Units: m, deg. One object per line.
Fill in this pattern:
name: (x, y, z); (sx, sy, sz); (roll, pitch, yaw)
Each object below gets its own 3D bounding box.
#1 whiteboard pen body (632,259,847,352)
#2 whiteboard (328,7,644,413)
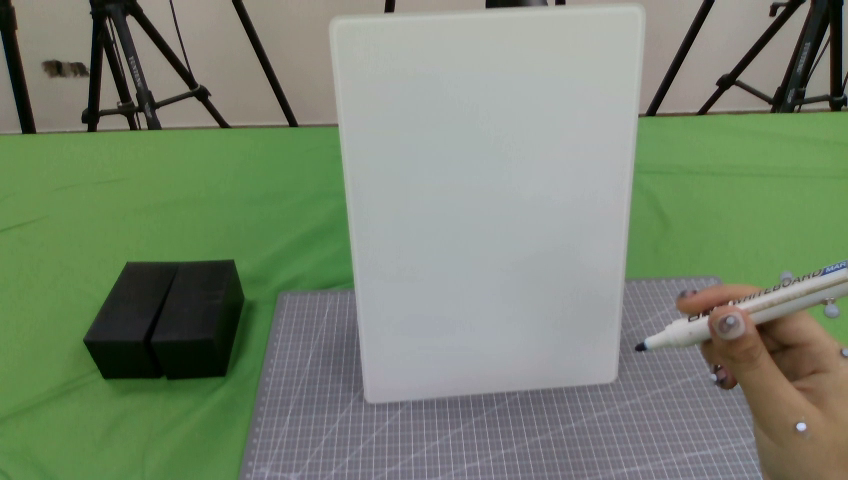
whiteboard pen body: (0.165, 0.034, 0.299); (0.017, 0.140, 0.017); (26, 49, -34)
whiteboard: (0.046, -0.030, 0.520); (0.217, 0.307, 0.143); (-4, 20, -3)
